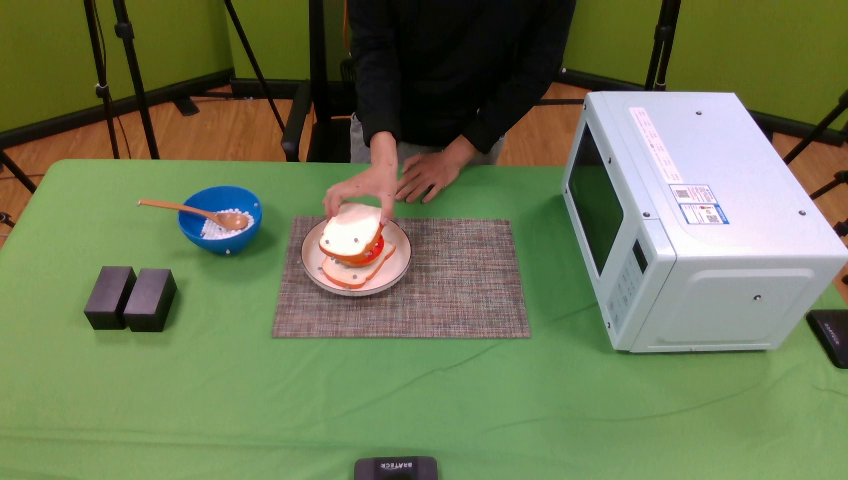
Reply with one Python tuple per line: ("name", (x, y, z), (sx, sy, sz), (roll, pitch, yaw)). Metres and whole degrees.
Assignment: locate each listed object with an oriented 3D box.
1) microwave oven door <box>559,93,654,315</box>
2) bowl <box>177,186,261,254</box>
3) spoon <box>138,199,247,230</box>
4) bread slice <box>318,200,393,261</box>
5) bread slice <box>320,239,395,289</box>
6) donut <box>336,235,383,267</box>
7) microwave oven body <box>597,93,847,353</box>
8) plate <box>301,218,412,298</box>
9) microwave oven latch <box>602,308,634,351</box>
("microwave oven door", (0.327, -0.074, 1.123), (0.039, 0.245, 0.353), (-1, 46, -5))
("bowl", (-0.383, -0.026, 1.158), (0.151, 0.077, 0.150), (2, 46, -2))
("spoon", (-0.431, -0.053, 1.136), (0.194, 0.022, 0.041), (15, 48, -20))
("bread slice", (-0.128, -0.017, 1.090), (0.104, 0.019, 0.131), (14, 52, 18))
("bread slice", (-0.129, 0.036, 1.140), (0.107, 0.018, 0.134), (19, 48, 14))
("donut", (-0.125, 0.010, 1.127), (0.099, 0.048, 0.098), (3, 45, -3))
("microwave oven body", (0.475, -0.041, 1.109), (0.326, 0.261, 0.438), (-1, 45, -4))
("plate", (-0.126, 0.031, 1.145), (0.208, 0.039, 0.206), (2, 46, -2))
("microwave oven latch", (0.332, 0.153, 1.044), (0.030, 0.029, 0.078), (-1, 45, -4))
